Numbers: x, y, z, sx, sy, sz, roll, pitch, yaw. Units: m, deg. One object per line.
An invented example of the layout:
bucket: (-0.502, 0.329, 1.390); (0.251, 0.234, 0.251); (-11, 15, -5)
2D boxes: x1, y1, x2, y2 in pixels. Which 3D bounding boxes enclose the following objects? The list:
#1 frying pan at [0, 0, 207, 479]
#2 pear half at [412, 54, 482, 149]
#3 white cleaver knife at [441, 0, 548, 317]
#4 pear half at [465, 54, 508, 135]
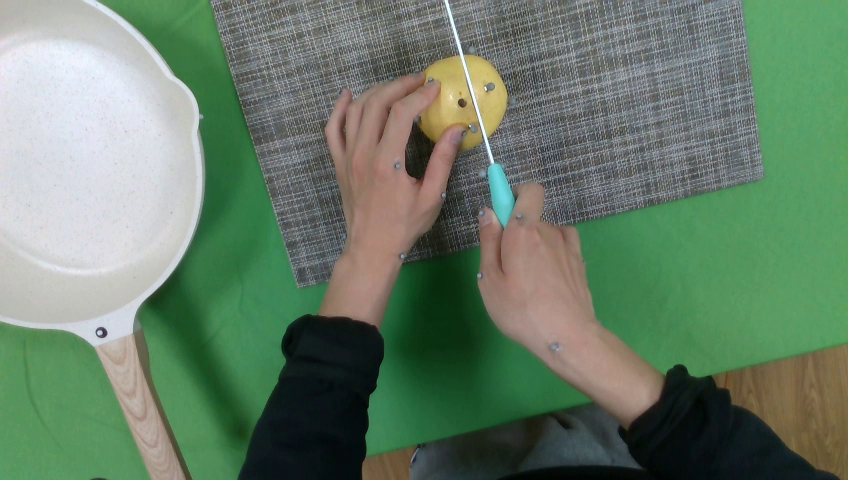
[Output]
frying pan: (-0.295, 0.030, 0.540); (0.307, 0.102, 0.488); (-18, 93, 6)
pear half: (0.018, -0.110, 0.497); (0.056, 0.109, 0.076); (-22, 98, 7)
white cleaver knife: (0.052, -0.073, 0.471); (0.021, 0.065, 0.287); (-15, 101, 8)
pear half: (0.053, -0.123, 0.504); (0.031, 0.088, 0.070); (-22, 98, 3)
